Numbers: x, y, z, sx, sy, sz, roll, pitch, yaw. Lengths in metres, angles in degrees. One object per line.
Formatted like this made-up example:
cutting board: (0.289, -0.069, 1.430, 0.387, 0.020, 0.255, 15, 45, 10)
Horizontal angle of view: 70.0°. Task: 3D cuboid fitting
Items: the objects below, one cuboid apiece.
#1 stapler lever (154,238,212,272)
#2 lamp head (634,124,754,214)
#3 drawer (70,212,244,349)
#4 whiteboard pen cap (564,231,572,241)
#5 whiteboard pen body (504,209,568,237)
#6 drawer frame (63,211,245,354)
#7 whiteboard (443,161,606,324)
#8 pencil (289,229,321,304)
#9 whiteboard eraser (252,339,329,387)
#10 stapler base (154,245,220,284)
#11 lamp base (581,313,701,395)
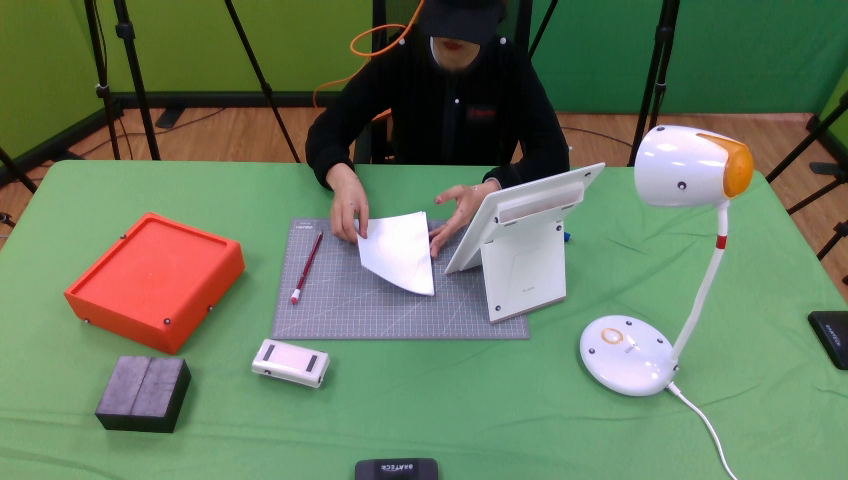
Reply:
stapler lever: (-0.434, 0.022, 1.091, 0.118, 0.040, 0.027, 23, 46, 15)
lamp head: (0.351, -0.089, 0.776, 0.112, 0.113, 0.122, -30, 30, -28)
drawer: (-0.458, 0.065, 1.060, 0.194, 0.073, 0.211, 18, 48, 12)
whiteboard pen cap: (0.282, -0.012, 1.230, 0.033, 0.018, 0.018, 24, 49, 15)
whiteboard pen body: (0.230, -0.034, 1.248, 0.140, 0.017, 0.017, 22, 49, 15)
drawer frame: (-0.459, 0.067, 1.056, 0.201, 0.083, 0.212, 17, 48, 11)
whiteboard: (0.185, 0.026, 1.028, 0.217, 0.306, 0.143, -15, 68, -18)
pencil: (-0.220, 0.045, 1.141, 0.012, 0.012, 0.193, 8, 44, 4)
whiteboard eraser: (-0.215, 0.199, 0.976, 0.112, 0.042, 0.055, 12, 45, 7)
stapler base: (-0.434, 0.039, 1.107, 0.130, 0.024, 0.041, 21, 45, 17)
lamp base: (0.361, 0.144, 0.973, 0.178, 0.181, 0.160, 34, 53, 23)
